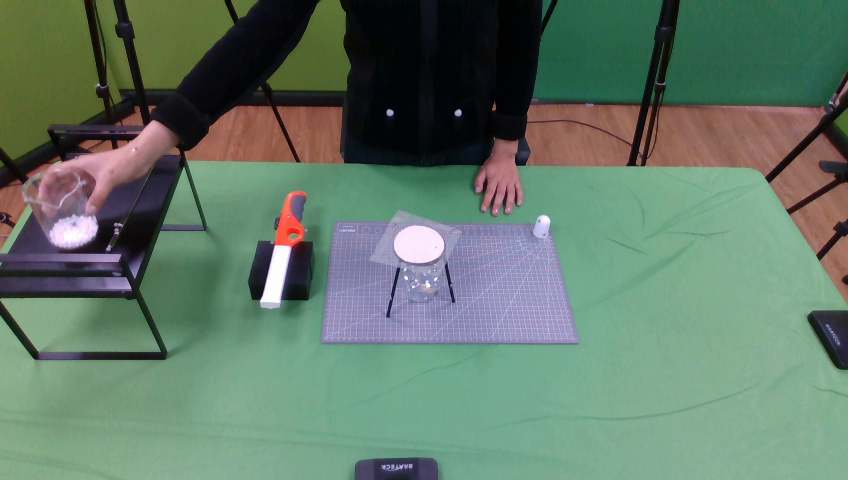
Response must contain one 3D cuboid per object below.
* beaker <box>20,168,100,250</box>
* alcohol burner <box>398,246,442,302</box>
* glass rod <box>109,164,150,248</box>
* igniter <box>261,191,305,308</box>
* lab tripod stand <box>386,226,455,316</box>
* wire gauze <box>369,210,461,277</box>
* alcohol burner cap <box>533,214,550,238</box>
[{"bbox_3d":[-0.517,-0.040,0.871,0.074,0.101,0.083,-21,51,-23],"label":"beaker"},{"bbox_3d":[-0.006,0.055,1.078,0.078,0.119,0.077,3,44,-3],"label":"alcohol burner"},{"bbox_3d":[-0.473,-0.061,0.979,0.008,0.008,0.198,1,46,-3],"label":"glass rod"},{"bbox_3d":[-0.255,0.007,1.103,0.057,0.025,0.275,5,47,-4],"label":"igniter"},{"bbox_3d":[-0.013,0.055,1.064,0.148,0.132,0.147,2,48,-2],"label":"lab tripod stand"},{"bbox_3d":[-0.013,0.006,1.017,0.121,0.011,0.124,17,49,12],"label":"wire gauze"},{"bbox_3d":[0.240,-0.030,1.228,0.034,0.048,0.033,1,46,-1],"label":"alcohol burner cap"}]
